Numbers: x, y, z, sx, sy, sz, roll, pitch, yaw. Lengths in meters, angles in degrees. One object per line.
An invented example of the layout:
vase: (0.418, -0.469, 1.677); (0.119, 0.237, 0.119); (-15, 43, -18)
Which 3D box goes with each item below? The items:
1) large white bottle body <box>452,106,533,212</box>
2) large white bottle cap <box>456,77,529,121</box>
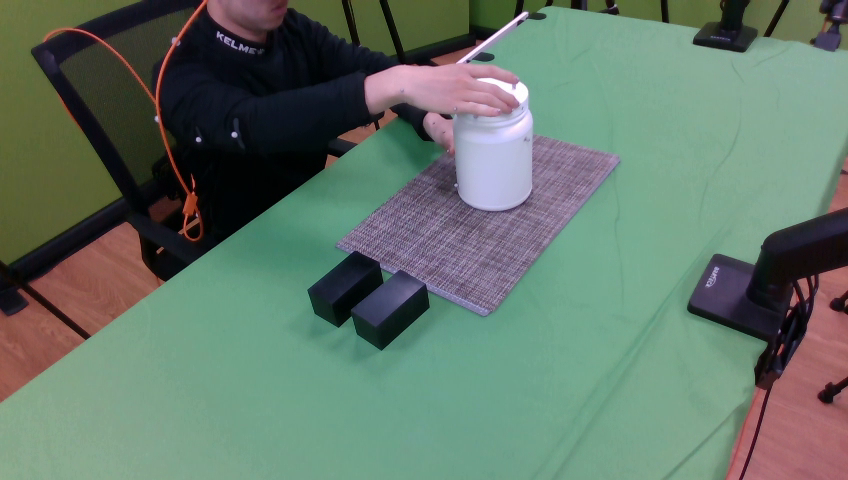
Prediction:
large white bottle body: (0.114, -0.155, 1.001); (0.130, 0.185, 0.130); (-5, 41, 5)
large white bottle cap: (0.106, -0.222, 0.943); (0.115, 0.018, 0.114); (-3, 41, 3)
